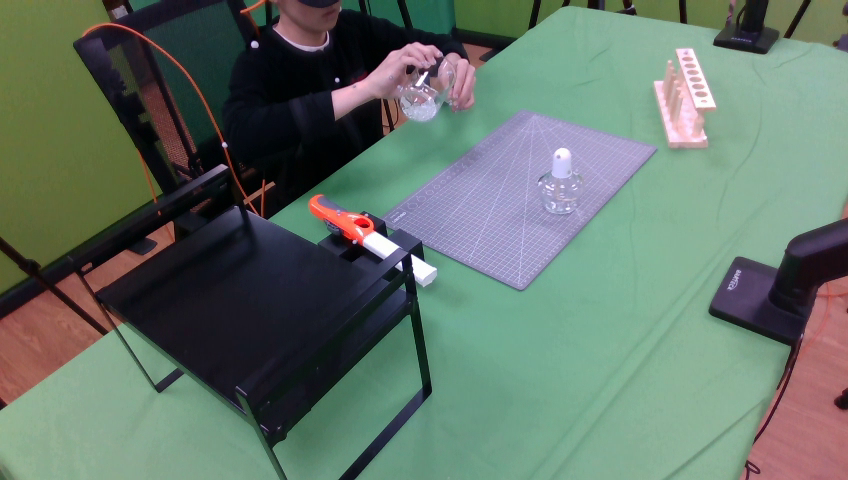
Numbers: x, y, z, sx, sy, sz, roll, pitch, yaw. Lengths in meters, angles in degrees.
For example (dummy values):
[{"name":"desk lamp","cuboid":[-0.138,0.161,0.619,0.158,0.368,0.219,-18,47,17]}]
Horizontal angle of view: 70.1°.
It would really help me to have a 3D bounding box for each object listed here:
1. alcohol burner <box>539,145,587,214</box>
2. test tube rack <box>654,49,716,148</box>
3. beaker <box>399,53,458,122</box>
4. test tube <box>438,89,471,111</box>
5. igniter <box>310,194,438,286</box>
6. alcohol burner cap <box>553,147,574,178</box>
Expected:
[{"name":"alcohol burner","cuboid":[0.226,-0.102,0.986,0.078,0.119,0.077,-6,41,6]},{"name":"test tube rack","cuboid":[0.502,-0.281,1.176,0.066,0.085,0.241,1,41,11]},{"name":"beaker","cuboid":[0.007,-0.250,1.009,0.073,0.084,0.100,5,49,26]},{"name":"test tube","cuboid":[0.060,-0.260,1.131,0.017,0.017,0.151,12,7,21]},{"name":"igniter","cuboid":[-0.087,-0.007,0.921,0.274,0.025,0.057,31,50,34]},{"name":"alcohol burner cap","cuboid":[0.224,-0.125,0.965,0.034,0.048,0.033,-5,44,5]}]
